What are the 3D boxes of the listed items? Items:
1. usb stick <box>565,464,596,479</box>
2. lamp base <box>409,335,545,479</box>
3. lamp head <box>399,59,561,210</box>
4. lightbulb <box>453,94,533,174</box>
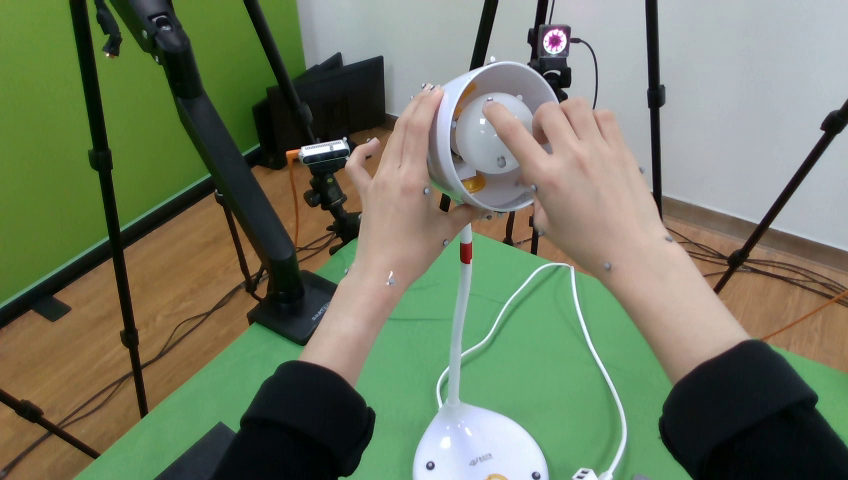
[{"bbox_3d":[0.185,0.284,0.682,0.027,0.059,0.021,-29,4,-35],"label":"usb stick"},{"bbox_3d":[0.053,0.204,0.678,0.161,0.182,0.177,-24,42,-26],"label":"lamp base"},{"bbox_3d":[0.034,-0.080,0.501,0.112,0.113,0.122,-25,14,-26],"label":"lamp head"},{"bbox_3d":[0.047,-0.079,0.479,0.059,0.059,0.107,-12,2,-12],"label":"lightbulb"}]
